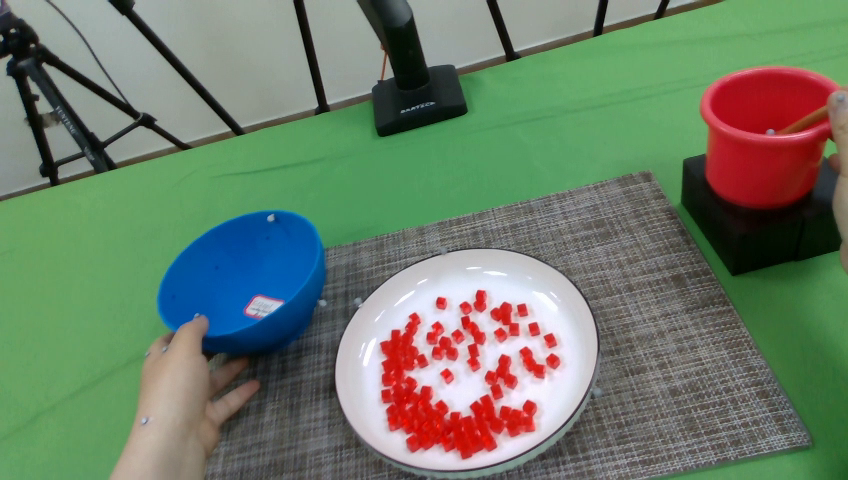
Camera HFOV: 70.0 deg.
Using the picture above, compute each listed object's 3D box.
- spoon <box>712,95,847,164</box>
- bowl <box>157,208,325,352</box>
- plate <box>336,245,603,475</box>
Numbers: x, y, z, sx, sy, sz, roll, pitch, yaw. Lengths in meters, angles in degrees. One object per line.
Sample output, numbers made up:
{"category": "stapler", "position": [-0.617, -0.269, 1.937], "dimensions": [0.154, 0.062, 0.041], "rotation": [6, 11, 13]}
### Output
{"category": "spoon", "position": [0.284, -0.087, 0.428], "dimensions": [0.041, 0.021, 0.193], "rotation": [-38, 2, -20]}
{"category": "bowl", "position": [-0.153, 0.049, 0.556], "dimensions": [0.151, 0.077, 0.150], "rotation": [-10, 44, 10]}
{"category": "plate", "position": [0.035, 0.090, 0.480], "dimensions": [0.207, 0.039, 0.205], "rotation": [-10, 43, 10]}
